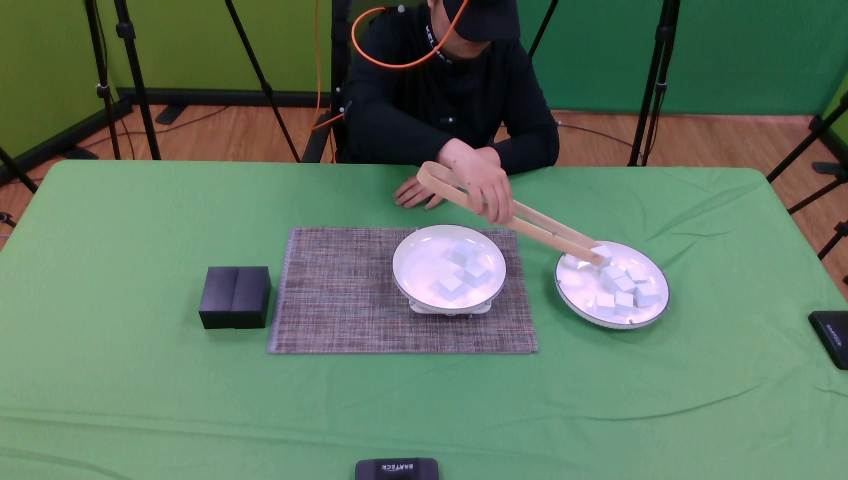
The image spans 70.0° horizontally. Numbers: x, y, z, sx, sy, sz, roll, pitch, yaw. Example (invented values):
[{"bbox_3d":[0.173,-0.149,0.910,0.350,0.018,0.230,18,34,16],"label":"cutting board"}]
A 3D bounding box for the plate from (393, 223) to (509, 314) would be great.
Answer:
[{"bbox_3d":[0.048,0.053,1.091,0.208,0.039,0.206,1,46,-1],"label":"plate"}]

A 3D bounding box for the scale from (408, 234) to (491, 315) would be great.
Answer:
[{"bbox_3d":[0.045,0.055,1.135,0.149,0.032,0.199,1,46,-3],"label":"scale"}]

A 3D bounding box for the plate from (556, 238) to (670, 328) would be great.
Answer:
[{"bbox_3d":[0.347,0.083,1.130,0.209,0.038,0.208,2,47,-2],"label":"plate"}]

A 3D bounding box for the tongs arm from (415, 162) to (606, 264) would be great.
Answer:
[{"bbox_3d":[0.161,-0.043,1.086,0.386,0.026,0.050,21,36,-17],"label":"tongs arm"}]

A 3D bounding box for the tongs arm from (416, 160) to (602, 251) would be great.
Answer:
[{"bbox_3d":[0.162,-0.059,1.107,0.389,0.028,0.028,24,39,-15],"label":"tongs arm"}]
